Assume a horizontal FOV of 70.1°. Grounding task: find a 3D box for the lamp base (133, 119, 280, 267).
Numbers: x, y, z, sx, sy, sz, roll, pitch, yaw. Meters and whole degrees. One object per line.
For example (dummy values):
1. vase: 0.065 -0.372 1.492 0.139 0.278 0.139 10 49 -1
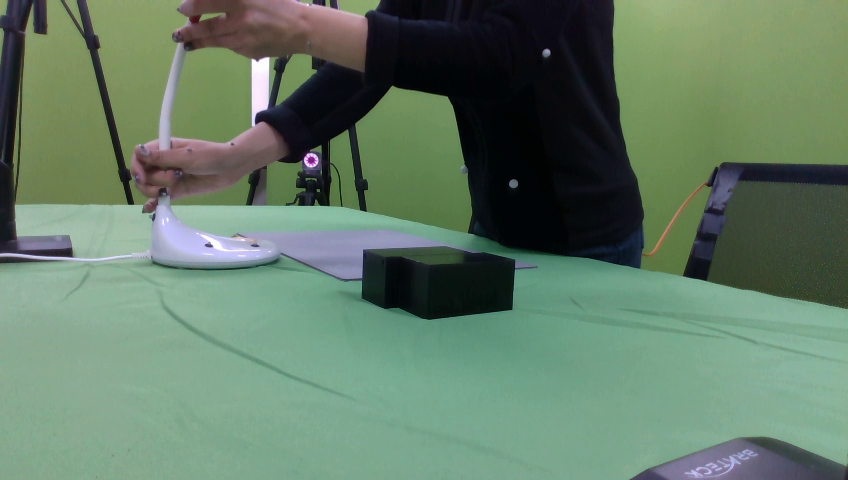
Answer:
1. lamp base: -0.277 -0.061 0.771 0.180 0.180 0.160 -8 12 -43
